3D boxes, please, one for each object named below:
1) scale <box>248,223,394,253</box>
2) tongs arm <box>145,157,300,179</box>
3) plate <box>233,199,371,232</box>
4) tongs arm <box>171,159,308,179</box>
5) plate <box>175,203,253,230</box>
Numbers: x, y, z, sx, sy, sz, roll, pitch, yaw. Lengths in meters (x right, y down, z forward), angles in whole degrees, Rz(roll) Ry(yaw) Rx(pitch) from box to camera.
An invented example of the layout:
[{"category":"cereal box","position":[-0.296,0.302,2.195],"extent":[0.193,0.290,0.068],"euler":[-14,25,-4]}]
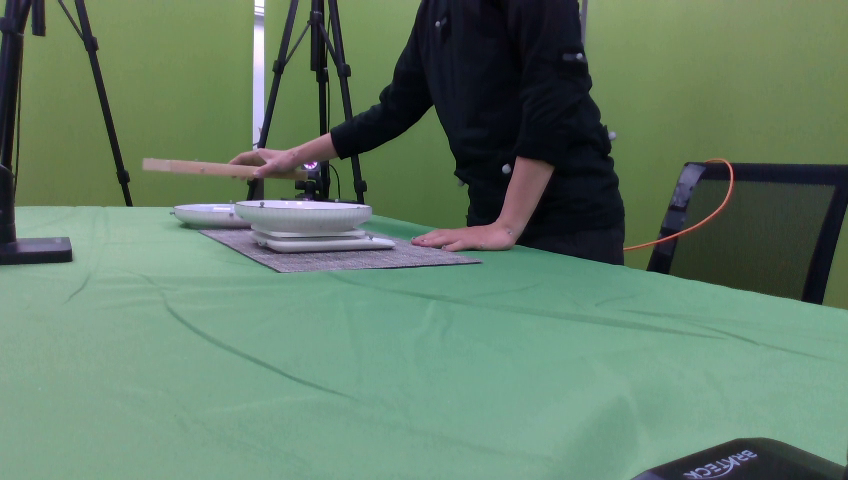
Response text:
[{"category":"scale","position":[-0.162,-0.006,0.954],"extent":[0.202,0.031,0.148],"euler":[-2,8,-32]},{"category":"tongs arm","position":[-0.444,-0.165,1.408],"extent":[0.050,0.026,0.387],"euler":[6,5,42]},{"category":"plate","position":[-0.188,-0.039,0.939],"extent":[0.209,0.038,0.209],"euler":[3,7,0]},{"category":"tongs arm","position":[-0.396,-0.158,1.368],"extent":[0.028,0.028,0.389],"euler":[1,3,34]},{"category":"plate","position":[-0.381,-0.047,1.199],"extent":[0.208,0.039,0.207],"euler":[3,7,0]}]
